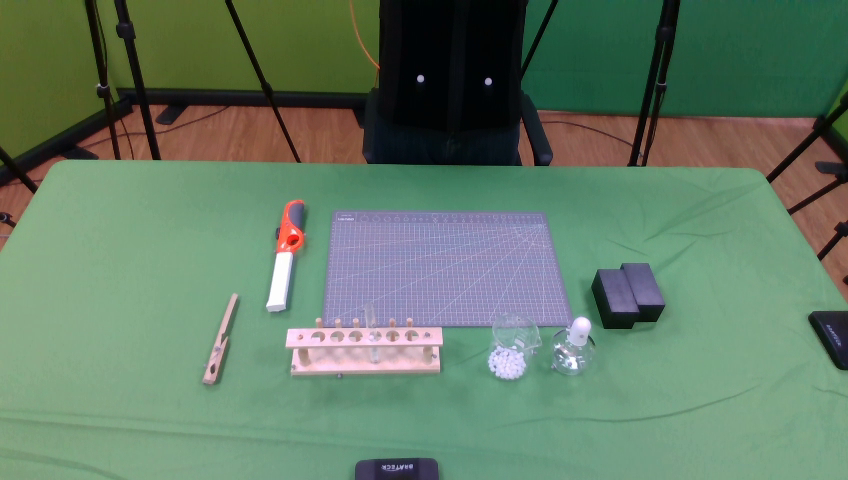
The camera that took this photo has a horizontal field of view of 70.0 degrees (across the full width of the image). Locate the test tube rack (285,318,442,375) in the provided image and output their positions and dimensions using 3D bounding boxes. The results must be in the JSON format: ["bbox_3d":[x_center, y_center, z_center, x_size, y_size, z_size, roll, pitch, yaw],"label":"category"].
[{"bbox_3d":[-0.095,0.168,0.986,0.242,0.085,0.066,0,46,-4],"label":"test tube rack"}]

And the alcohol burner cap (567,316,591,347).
[{"bbox_3d":[0.249,0.143,0.965,0.034,0.048,0.033,4,40,-3],"label":"alcohol burner cap"}]

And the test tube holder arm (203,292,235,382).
[{"bbox_3d":[-0.343,0.159,1.020,0.013,0.015,0.177,27,39,-26],"label":"test tube holder arm"}]

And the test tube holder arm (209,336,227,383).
[{"bbox_3d":[-0.338,0.193,0.991,0.010,0.015,0.087,28,39,-25],"label":"test tube holder arm"}]

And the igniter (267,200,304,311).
[{"bbox_3d":[-0.263,0.020,1.156,0.057,0.025,0.274,-6,46,4],"label":"igniter"}]

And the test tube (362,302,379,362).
[{"bbox_3d":[-0.082,0.146,0.939,0.017,0.151,0.017,0,48,1],"label":"test tube"}]

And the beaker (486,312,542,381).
[{"bbox_3d":[0.144,0.177,0.985,0.084,0.101,0.074,22,49,16],"label":"beaker"}]

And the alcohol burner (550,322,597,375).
[{"bbox_3d":[0.248,0.168,0.991,0.078,0.119,0.077,2,48,-2],"label":"alcohol burner"}]
